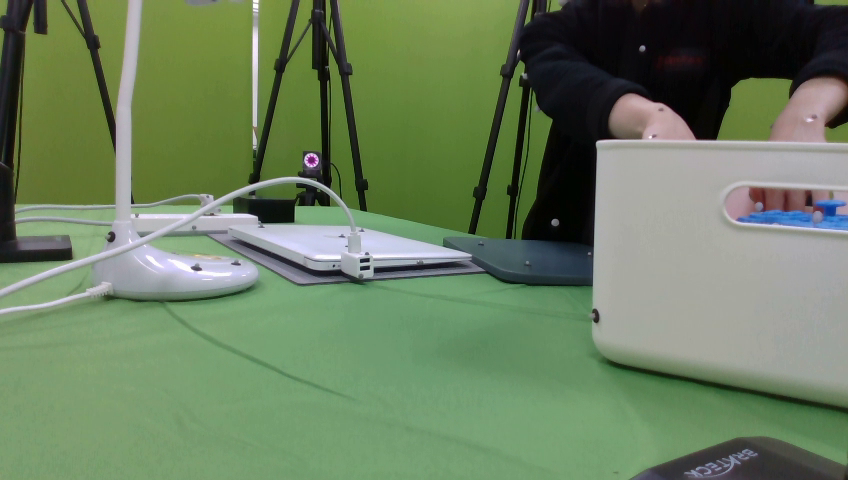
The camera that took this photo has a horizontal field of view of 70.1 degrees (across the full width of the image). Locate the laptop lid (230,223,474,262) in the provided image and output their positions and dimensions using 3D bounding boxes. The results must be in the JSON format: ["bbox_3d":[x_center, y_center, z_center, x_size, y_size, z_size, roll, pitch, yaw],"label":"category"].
[{"bbox_3d":[-0.121,0.000,0.888,0.243,0.013,0.355,1,7,-33],"label":"laptop lid"}]

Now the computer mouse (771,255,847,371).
[{"bbox_3d":[0.345,0.057,0.519,0.063,0.041,0.117,11,47,4],"label":"computer mouse"}]

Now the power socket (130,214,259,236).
[{"bbox_3d":[-0.397,-0.028,1.048,0.228,0.032,0.072,-3,7,-35],"label":"power socket"}]

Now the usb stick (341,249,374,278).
[{"bbox_3d":[-0.078,0.026,0.686,0.021,0.027,0.059,-8,8,-30],"label":"usb stick"}]

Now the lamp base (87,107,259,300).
[{"bbox_3d":[-0.254,-0.039,0.603,0.160,0.180,0.179,5,10,18],"label":"lamp base"}]

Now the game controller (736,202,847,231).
[{"bbox_3d":[0.292,0.000,0.427,0.097,0.051,0.155,0,7,4],"label":"game controller"}]

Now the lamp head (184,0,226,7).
[{"bbox_3d":[-0.229,-0.320,0.627,0.112,0.112,0.123,6,-35,26],"label":"lamp head"}]

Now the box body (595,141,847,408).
[{"bbox_3d":[0.309,0.007,0.510,0.253,0.160,0.366,6,8,29],"label":"box body"}]

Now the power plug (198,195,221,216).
[{"bbox_3d":[-0.386,-0.055,1.088,0.035,0.052,0.072,-2,6,-24],"label":"power plug"}]

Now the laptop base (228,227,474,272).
[{"bbox_3d":[-0.124,0.012,0.889,0.237,0.023,0.352,2,6,-35],"label":"laptop base"}]

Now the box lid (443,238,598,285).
[{"bbox_3d":[0.191,0.028,0.903,0.264,0.015,0.370,2,7,-12],"label":"box lid"}]
